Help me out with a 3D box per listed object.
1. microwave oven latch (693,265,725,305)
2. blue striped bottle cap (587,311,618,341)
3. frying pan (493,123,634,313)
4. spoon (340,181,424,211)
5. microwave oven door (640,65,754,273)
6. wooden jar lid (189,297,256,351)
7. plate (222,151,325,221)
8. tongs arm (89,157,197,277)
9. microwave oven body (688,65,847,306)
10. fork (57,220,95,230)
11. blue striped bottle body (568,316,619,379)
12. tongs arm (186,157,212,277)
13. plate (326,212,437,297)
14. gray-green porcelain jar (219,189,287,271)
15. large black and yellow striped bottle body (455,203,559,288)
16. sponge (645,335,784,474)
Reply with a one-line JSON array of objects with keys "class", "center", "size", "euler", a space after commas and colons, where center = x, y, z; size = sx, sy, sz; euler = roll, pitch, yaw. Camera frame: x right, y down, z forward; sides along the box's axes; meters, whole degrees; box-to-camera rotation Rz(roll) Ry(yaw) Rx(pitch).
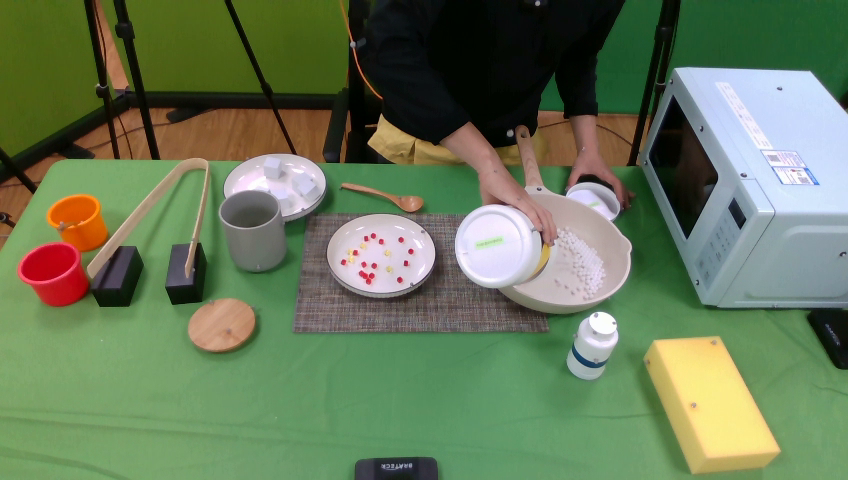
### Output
[{"class": "microwave oven latch", "center": [0.523, 0.082, 1.116], "size": [0.030, 0.029, 0.078], "euler": [2, 46, -1]}, {"class": "blue striped bottle cap", "center": [0.279, 0.134, 0.946], "size": [0.044, 0.021, 0.044], "euler": [2, 45, -2]}, {"class": "frying pan", "center": [0.235, -0.060, 1.208], "size": [0.307, 0.103, 0.484], "euler": [2, 54, -6]}, {"class": "spoon", "center": [-0.090, -0.100, 1.282], "size": [0.193, 0.022, 0.041], "euler": [18, 64, 13]}, {"class": "microwave oven door", "center": [0.523, -0.147, 1.193], "size": [0.039, 0.245, 0.353], "euler": [0, 47, -3]}, {"class": "wooden jar lid", "center": [-0.342, 0.145, 1.033], "size": [0.108, 0.021, 0.107], "euler": [2, 45, -2]}, {"class": "plate", "center": [-0.310, -0.106, 1.262], "size": [0.208, 0.039, 0.206], "euler": [2, 47, -2]}, {"class": "tongs arm", "center": [-0.530, -0.058, 1.163], "size": [0.028, 0.028, 0.385], "euler": [1, 36, 7]}, {"class": "microwave oven body", "center": [0.669, -0.111, 1.176], "size": [0.326, 0.261, 0.439], "euler": [0, 46, -3]}, {"class": "fork", "center": [-0.624, -0.027, 1.087], "size": [0.028, 0.207, 0.018], "euler": [-3, 92, -17]}, {"class": "blue striped bottle body", "center": [0.277, 0.169, 0.984], "size": [0.063, 0.121, 0.062], "euler": [2, 46, -2]}, {"class": "tongs arm", "center": [-0.445, -0.058, 1.168], "size": [0.051, 0.026, 0.382], "euler": [-4, 37, -6]}, {"class": "plate", "center": [-0.080, 0.030, 1.143], "size": [0.209, 0.038, 0.208], "euler": [2, 46, -2]}, {"class": "gray-green porcelain jar", "center": [-0.310, -0.014, 1.113], "size": [0.106, 0.127, 0.105], "euler": [2, 46, -2]}, {"class": "large black and yellow striped bottle body", "center": [0.145, 0.009, 1.002], "size": [0.130, 0.131, 0.184], "euler": [33, 15, 25]}, {"class": "sponge", "center": [0.449, 0.253, 0.956], "size": [0.118, 0.061, 0.205], "euler": [-4, 46, -7]}]
